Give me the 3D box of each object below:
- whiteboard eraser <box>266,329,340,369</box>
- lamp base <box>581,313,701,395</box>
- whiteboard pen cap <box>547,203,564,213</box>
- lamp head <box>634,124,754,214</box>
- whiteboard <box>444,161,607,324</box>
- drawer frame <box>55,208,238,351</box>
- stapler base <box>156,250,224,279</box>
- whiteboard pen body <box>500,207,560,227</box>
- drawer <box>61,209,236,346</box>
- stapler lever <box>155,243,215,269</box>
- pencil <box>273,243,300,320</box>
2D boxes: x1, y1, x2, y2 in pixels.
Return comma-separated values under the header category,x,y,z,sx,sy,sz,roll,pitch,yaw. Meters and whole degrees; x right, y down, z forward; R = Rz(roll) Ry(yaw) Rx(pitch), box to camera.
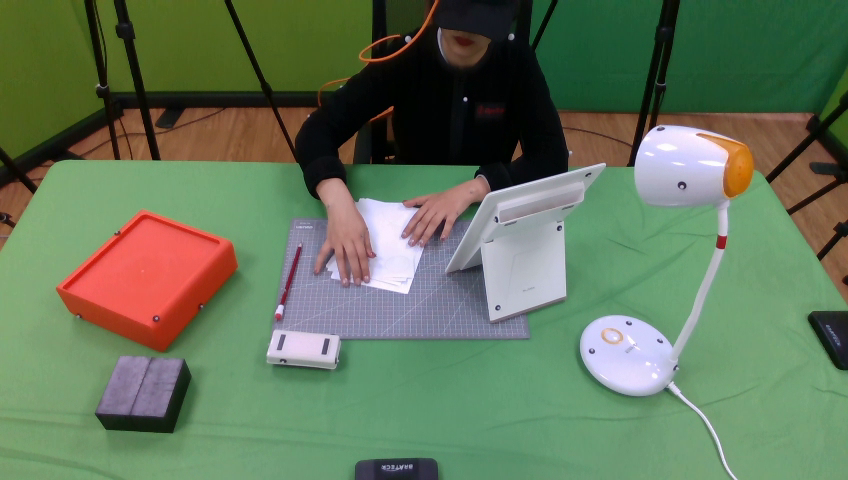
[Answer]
category,x,y,z,sx,sy,sz,roll,pitch,yaw
whiteboard eraser,-0.198,0.181,0.994,0.113,0.042,0.055,5,45,1
lamp base,0.361,0.144,0.973,0.178,0.181,0.160,34,53,23
whiteboard pen cap,0.277,-0.066,1.275,0.033,0.018,0.018,-18,50,-15
lamp head,0.351,-0.089,0.776,0.112,0.113,0.122,-30,30,-28
whiteboard,0.186,0.025,1.029,0.217,0.306,0.143,-15,68,-18
drawer frame,-0.474,0.062,1.060,0.201,0.083,0.213,18,48,12
stapler base,-0.431,0.040,1.110,0.130,0.024,0.041,11,38,17
whiteboard pen body,0.222,-0.051,1.260,0.141,0.017,0.017,-15,49,-16
drawer,-0.474,0.061,1.063,0.194,0.073,0.211,19,48,13
stapler lever,-0.433,0.023,1.097,0.118,0.040,0.026,14,39,14
pencil,-0.249,0.070,1.115,0.012,0.012,0.193,5,44,1
